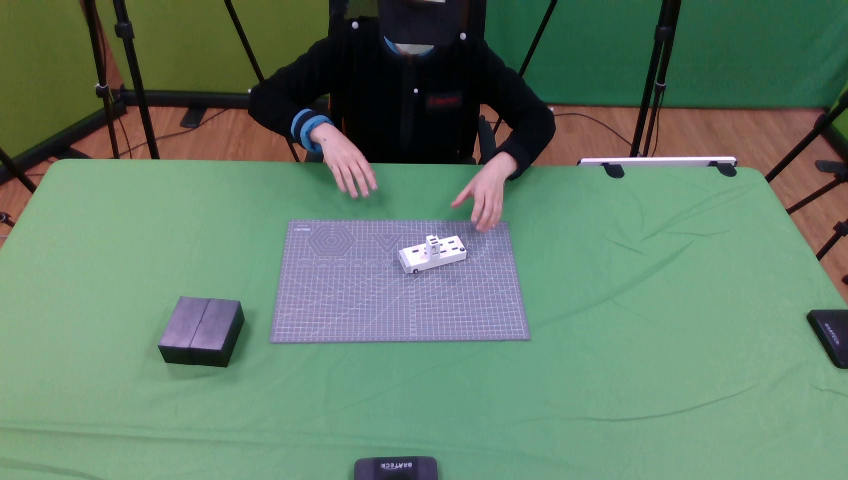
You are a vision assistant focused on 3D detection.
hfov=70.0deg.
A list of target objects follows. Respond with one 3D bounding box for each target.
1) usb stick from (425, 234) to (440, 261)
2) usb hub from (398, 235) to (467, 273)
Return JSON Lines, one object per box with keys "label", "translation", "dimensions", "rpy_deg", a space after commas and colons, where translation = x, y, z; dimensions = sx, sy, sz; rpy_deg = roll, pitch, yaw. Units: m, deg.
{"label": "usb stick", "translation": [0.016, 0.019, 1.133], "dimensions": [0.021, 0.059, 0.027], "rpy_deg": [-16, 52, -15]}
{"label": "usb hub", "translation": [0.016, 0.027, 1.166], "dimensions": [0.125, 0.025, 0.049], "rpy_deg": [-14, 50, -17]}
